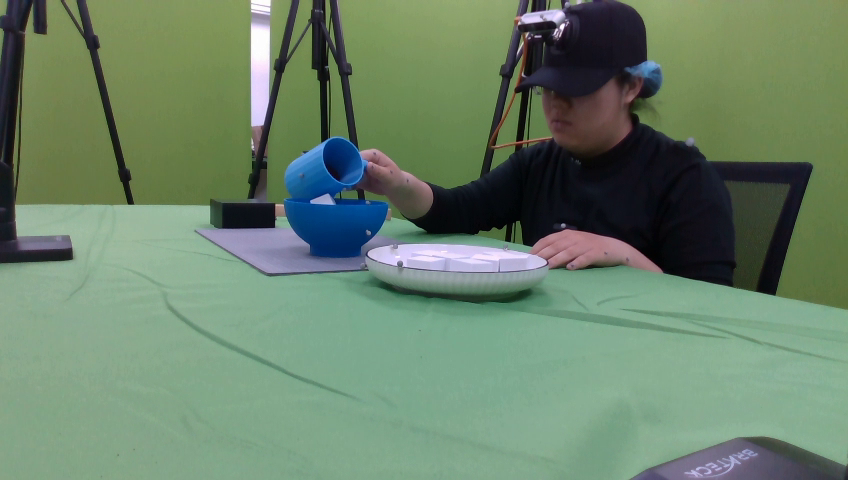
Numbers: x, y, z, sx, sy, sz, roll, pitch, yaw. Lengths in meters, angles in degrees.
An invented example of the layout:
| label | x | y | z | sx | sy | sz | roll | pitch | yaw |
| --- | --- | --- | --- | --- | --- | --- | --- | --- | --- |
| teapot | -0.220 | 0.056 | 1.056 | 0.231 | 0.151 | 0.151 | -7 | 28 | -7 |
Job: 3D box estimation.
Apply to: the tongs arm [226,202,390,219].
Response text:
| label | x | y | z | sx | sy | sz | roll | pitch | yaw |
| --- | --- | --- | --- | --- | --- | --- | --- | --- | --- |
| tongs arm | -0.275 | -0.071 | 1.446 | 0.388 | 0.027 | 0.028 | 2 | -1 | -4 |

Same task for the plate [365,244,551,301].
| label | x | y | z | sx | sy | sz | roll | pitch | yaw |
| --- | --- | --- | --- | --- | --- | --- | --- | --- | --- |
| plate | 0.038 | 0.036 | 0.685 | 0.209 | 0.038 | 0.209 | 2 | 7 | 0 |

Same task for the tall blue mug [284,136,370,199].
| label | x | y | z | sx | sy | sz | roll | pitch | yaw |
| --- | --- | --- | --- | --- | --- | --- | --- | --- | --- |
| tall blue mug | -0.146 | -0.112 | 0.938 | 0.107 | 0.078 | 0.107 | -19 | 20 | 45 |

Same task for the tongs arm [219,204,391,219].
| label | x | y | z | sx | sy | sz | roll | pitch | yaw |
| --- | --- | --- | --- | --- | --- | --- | --- | --- | --- |
| tongs arm | -0.258 | -0.064 | 1.367 | 0.386 | 0.026 | 0.050 | 1 | 3 | -17 |

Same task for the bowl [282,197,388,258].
| label | x | y | z | sx | sy | sz | roll | pitch | yaw |
| --- | --- | --- | --- | --- | --- | --- | --- | --- | --- |
| bowl | -0.127 | -0.018 | 0.868 | 0.151 | 0.077 | 0.151 | 2 | 7 | 0 |
